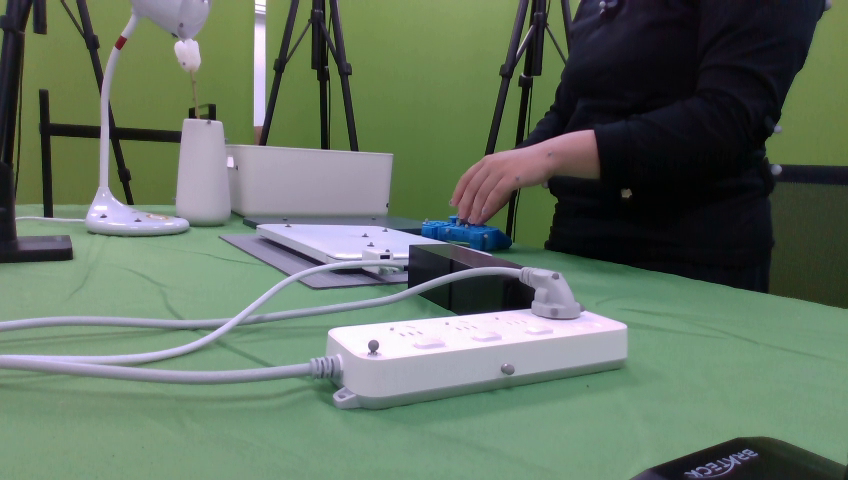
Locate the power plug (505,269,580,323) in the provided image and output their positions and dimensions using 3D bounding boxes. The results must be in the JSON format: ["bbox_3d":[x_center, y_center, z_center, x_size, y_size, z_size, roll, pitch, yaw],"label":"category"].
[{"bbox_3d":[0.092,0.051,0.470,0.035,0.052,0.072,0,7,-16],"label":"power plug"}]

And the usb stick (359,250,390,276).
[{"bbox_3d":[-0.061,0.026,0.709,0.021,0.027,0.059,-1,3,-30],"label":"usb stick"}]

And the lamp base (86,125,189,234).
[{"bbox_3d":[-0.497,-0.105,1.027,0.179,0.180,0.160,1,7,3],"label":"lamp base"}]

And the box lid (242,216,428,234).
[{"bbox_3d":[-0.162,-0.030,1.233,0.373,0.015,0.262,-1,8,-32],"label":"box lid"}]

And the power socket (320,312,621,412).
[{"bbox_3d":[0.038,0.075,0.409,0.228,0.032,0.072,-2,8,-29],"label":"power socket"}]

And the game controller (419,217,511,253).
[{"bbox_3d":[0.065,-0.010,1.044,0.154,0.051,0.097,7,12,31],"label":"game controller"}]

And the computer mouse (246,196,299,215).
[{"bbox_3d":[-0.355,-0.082,1.418,0.117,0.041,0.063,0,9,7],"label":"computer mouse"}]

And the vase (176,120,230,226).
[{"bbox_3d":[-0.425,-0.128,1.159,0.098,0.200,0.098,2,9,0],"label":"vase"}]

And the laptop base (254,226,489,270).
[{"bbox_3d":[-0.095,0.011,0.912,0.237,0.023,0.352,3,6,-32],"label":"laptop base"}]

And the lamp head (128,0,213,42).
[{"bbox_3d":[-0.423,-0.394,0.980,0.123,0.112,0.112,20,7,-3],"label":"lamp head"}]

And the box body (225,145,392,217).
[{"bbox_3d":[-0.289,-0.143,1.475,0.366,0.160,0.253,-1,9,-29],"label":"box body"}]

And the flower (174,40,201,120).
[{"bbox_3d":[-0.430,-0.211,1.165,0.044,0.361,0.038,-10,-5,-24],"label":"flower"}]

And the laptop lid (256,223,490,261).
[{"bbox_3d":[-0.093,0.000,0.912,0.243,0.013,0.355,1,7,-30],"label":"laptop lid"}]
